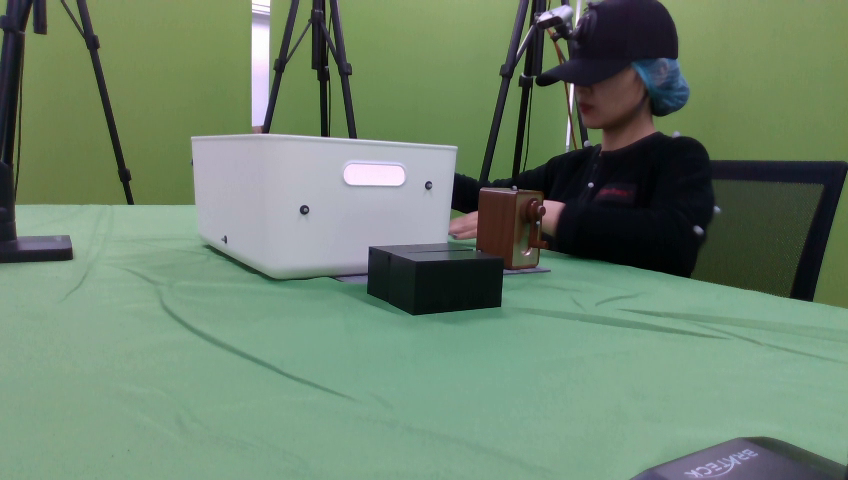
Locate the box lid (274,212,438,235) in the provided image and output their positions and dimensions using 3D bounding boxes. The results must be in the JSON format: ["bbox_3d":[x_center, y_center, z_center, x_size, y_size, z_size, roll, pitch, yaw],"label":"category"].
[{"bbox_3d":[-0.156,-0.037,1.283,0.264,0.015,0.370,-1,8,-25],"label":"box lid"}]

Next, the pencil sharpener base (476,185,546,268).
[{"bbox_3d":[0.119,-0.019,0.825,0.062,0.107,0.076,-3,10,-40],"label":"pencil sharpener base"}]

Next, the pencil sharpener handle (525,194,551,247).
[{"bbox_3d":[0.153,-0.025,0.784,0.036,0.067,0.030,0,8,-41],"label":"pencil sharpener handle"}]

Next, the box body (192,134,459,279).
[{"bbox_3d":[-0.154,-0.059,0.840,0.255,0.160,0.362,-2,9,-33],"label":"box body"}]
